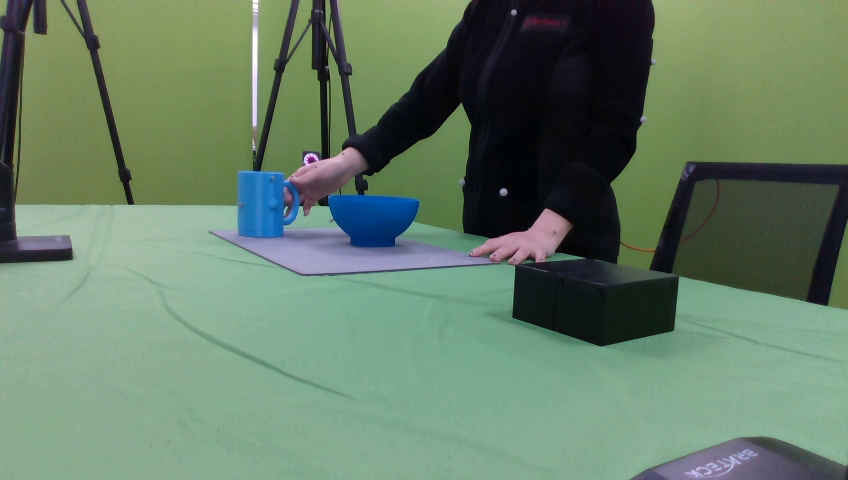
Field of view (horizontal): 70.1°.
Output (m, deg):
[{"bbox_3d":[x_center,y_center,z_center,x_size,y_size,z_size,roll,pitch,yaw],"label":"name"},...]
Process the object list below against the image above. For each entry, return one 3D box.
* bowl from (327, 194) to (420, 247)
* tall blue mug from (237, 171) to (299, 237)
[{"bbox_3d":[-0.083,-0.032,0.987,0.151,0.077,0.151,2,7,0],"label":"bowl"},{"bbox_3d":[-0.276,-0.064,1.053,0.077,0.108,0.107,3,7,14],"label":"tall blue mug"}]
